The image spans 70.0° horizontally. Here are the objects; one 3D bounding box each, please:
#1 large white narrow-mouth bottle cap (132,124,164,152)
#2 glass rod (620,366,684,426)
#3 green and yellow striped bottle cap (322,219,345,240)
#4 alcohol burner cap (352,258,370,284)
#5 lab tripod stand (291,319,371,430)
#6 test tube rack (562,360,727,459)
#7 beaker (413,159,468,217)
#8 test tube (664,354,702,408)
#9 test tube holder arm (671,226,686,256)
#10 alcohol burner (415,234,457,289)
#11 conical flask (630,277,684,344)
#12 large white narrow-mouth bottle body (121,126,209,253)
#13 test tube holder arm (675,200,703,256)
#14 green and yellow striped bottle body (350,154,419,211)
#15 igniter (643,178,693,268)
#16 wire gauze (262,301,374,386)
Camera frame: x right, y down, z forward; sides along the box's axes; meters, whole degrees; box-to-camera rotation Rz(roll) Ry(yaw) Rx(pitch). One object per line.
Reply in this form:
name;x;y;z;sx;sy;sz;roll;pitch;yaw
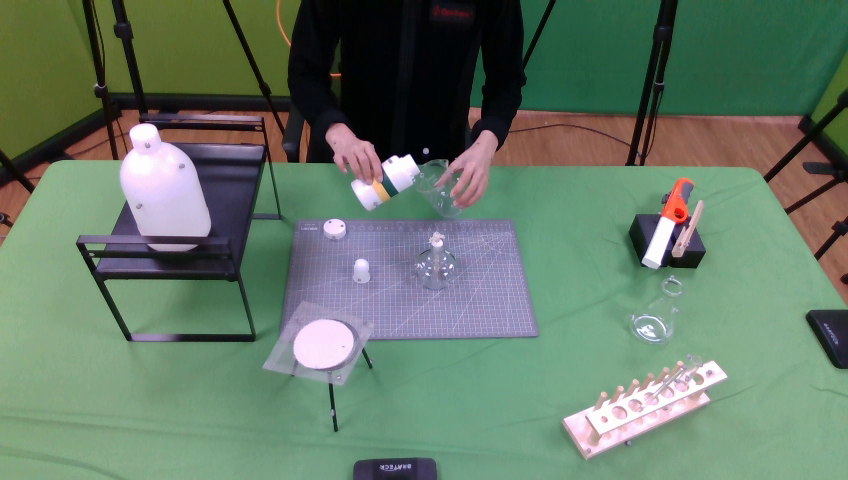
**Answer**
large white narrow-mouth bottle cap;-0.370;-0.137;0.813;0.038;0.024;0.037;3;46;-3
glass rod;0.322;0.227;0.866;0.008;0.200;0.008;5;51;-7
green and yellow striped bottle cap;-0.180;-0.022;1.206;0.045;0.020;0.045;2;45;-2
alcohol burner cap;-0.117;0.055;1.118;0.034;0.048;0.033;2;46;-1
lab tripod stand;-0.146;0.193;0.923;0.148;0.132;0.147;1;47;-1
test tube rack;0.341;0.247;0.940;0.243;0.085;0.066;-16;49;-18
beaker;0.036;-0.098;1.161;0.084;0.101;0.073;-49;47;-4
test tube;0.385;0.215;0.906;0.017;0.151;0.017;-1;49;1
test tube holder arm;0.494;0.001;1.166;0.010;0.015;0.087;1;36;42
alcohol burner;0.022;0.033;1.099;0.078;0.120;0.077;1;47;-1
conical flask;0.408;0.117;1.045;0.075;0.122;0.075;2;46;-2
large white narrow-mouth bottle body;-0.378;-0.077;0.875;0.102;0.195;0.101;3;46;-3
test tube holder arm;0.523;-0.025;1.190;0.013;0.015;0.178;1;36;41
green and yellow striped bottle body;-0.068;-0.109;1.094;0.119;0.063;0.062;-31;51;4
igniter;0.488;-0.042;1.205;0.057;0.025;0.276;30;51;11
wire gauze;-0.150;0.148;0.873;0.121;0.011;0.124;14;46;12
